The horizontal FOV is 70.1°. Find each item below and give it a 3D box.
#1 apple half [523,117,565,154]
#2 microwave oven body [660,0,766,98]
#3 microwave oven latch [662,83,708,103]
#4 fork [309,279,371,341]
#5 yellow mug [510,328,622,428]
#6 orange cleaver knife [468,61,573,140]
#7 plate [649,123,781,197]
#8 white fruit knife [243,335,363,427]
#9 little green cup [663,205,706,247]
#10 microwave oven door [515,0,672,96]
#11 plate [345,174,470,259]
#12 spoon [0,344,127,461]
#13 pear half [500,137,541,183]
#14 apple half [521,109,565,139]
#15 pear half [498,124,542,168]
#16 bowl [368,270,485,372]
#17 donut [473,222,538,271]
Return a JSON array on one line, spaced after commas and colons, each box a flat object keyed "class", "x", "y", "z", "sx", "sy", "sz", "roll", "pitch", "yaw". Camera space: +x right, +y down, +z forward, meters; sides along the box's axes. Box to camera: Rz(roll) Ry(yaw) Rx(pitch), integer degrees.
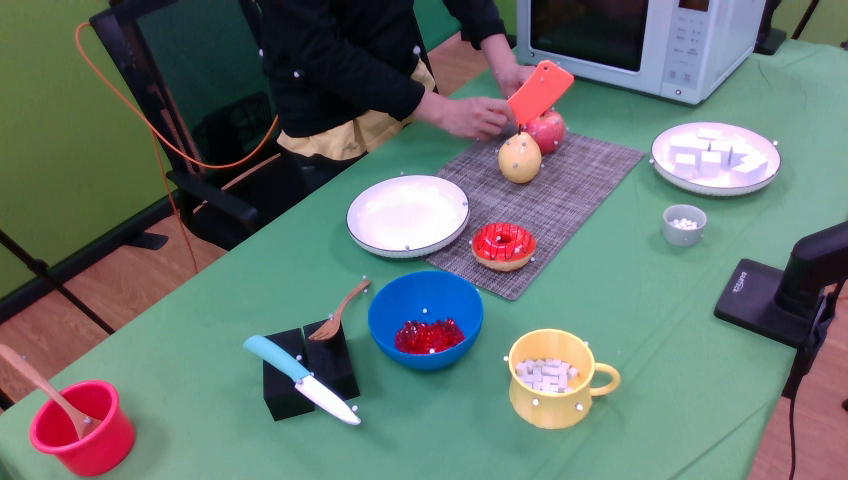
[{"class": "apple half", "x": 0.223, "y": -0.187, "z": 1.114, "sx": 0.081, "sy": 0.081, "sz": 0.032, "roll": -5, "pitch": 39, "yaw": 4}, {"class": "microwave oven body", "x": 0.472, "y": -0.513, "z": 1.317, "sx": 0.438, "sy": 0.261, "sz": 0.327, "roll": 26, "pitch": 51, "yaw": 34}, {"class": "microwave oven latch", "x": 0.517, "y": -0.296, "z": 1.204, "sx": 0.078, "sy": 0.029, "sz": 0.030, "roll": 27, "pitch": 52, "yaw": 35}, {"class": "fork", "x": -0.109, "y": 0.092, "z": 0.832, "sx": 0.028, "sy": 0.018, "sz": 0.207, "roll": -5, "pitch": 19, "yaw": 15}, {"class": "yellow mug", "x": 0.169, "y": 0.164, "z": 0.722, "sx": 0.130, "sy": 0.064, "sz": 0.099, "roll": 0, "pitch": 40, "yaw": 8}, {"class": "orange cleaver knife", "x": 0.171, "y": -0.239, "z": 1.094, "sx": 0.210, "sy": 0.077, "sz": 0.012, "roll": -38, "pitch": 25, "yaw": 28}, {"class": "plate", "x": 0.497, "y": -0.135, "z": 1.046, "sx": 0.207, "sy": 0.039, "sz": 0.206, "roll": -4, "pitch": 40, "yaw": 4}, {"class": "white fruit knife", "x": -0.148, "y": 0.167, "z": 0.729, "sx": 0.206, "sy": 0.016, "sz": 0.027, "roll": 27, "pitch": 80, "yaw": 31}, {"class": "little green cup", "x": 0.396, "y": -0.020, "z": 0.926, "sx": 0.061, "sy": 0.039, "sz": 0.061, "roll": -4, "pitch": 40, "yaw": 4}, {"class": "microwave oven door", "x": 0.344, "y": -0.455, "z": 1.259, "sx": 0.353, "sy": 0.245, "sz": 0.039, "roll": 26, "pitch": 51, "yaw": 33}, {"class": "plate", "x": -0.026, "y": -0.037, "z": 1.004, "sx": 0.209, "sy": 0.038, "sz": 0.208, "roll": -4, "pitch": 40, "yaw": 4}, {"class": "spoon", "x": -0.433, "y": 0.191, "z": 0.721, "sx": 0.194, "sy": 0.021, "sz": 0.042, "roll": 47, "pitch": 54, "yaw": -7}, {"class": "pear half", "x": 0.169, "y": -0.133, "z": 1.048, "sx": 0.070, "sy": 0.088, "sz": 0.031, "roll": -2, "pitch": 40, "yaw": -2}, {"class": "apple half", "x": 0.224, "y": -0.212, "z": 1.145, "sx": 0.081, "sy": 0.075, "sz": 0.053, "roll": -8, "pitch": 37, "yaw": 8}, {"class": "pear half", "x": 0.169, "y": -0.163, "z": 1.068, "sx": 0.076, "sy": 0.110, "sz": 0.055, "roll": -3, "pitch": 41, "yaw": 0}, {"class": "bowl", "x": 0.007, "y": 0.118, "z": 0.791, "sx": 0.151, "sy": 0.077, "sz": 0.150, "roll": -5, "pitch": 40, "yaw": 4}, {"class": "donut", "x": 0.123, "y": 0.009, "z": 0.923, "sx": 0.099, "sy": 0.048, "sz": 0.098, "roll": -3, "pitch": 38, "yaw": 3}]
